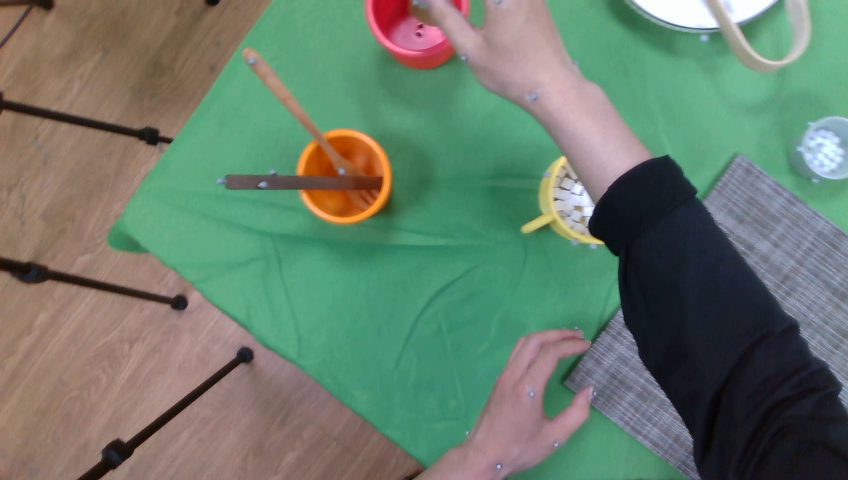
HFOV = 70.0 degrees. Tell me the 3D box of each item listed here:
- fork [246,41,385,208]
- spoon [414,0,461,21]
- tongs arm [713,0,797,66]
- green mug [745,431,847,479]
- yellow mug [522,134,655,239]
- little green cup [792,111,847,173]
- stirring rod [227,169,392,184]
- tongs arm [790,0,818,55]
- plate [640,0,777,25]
[{"bbox_3d":[-0.098,-0.103,0.576,0.028,0.018,0.210,-37,132,1],"label":"fork"},{"bbox_3d":[0.006,-0.199,0.463,0.041,0.193,0.022,7,99,4],"label":"spoon"},{"bbox_3d":[0.246,-0.337,0.575,0.051,0.026,0.384,-24,88,0],"label":"tongs arm"},{"bbox_3d":[0.387,0.231,0.581,0.125,0.105,0.092,-36,89,4],"label":"green mug"},{"bbox_3d":[0.158,-0.044,0.608,0.131,0.064,0.100,-28,91,5],"label":"yellow mug"},{"bbox_3d":[0.405,-0.095,0.607,0.061,0.038,0.061,0,92,4],"label":"little green cup"},{"bbox_3d":[-0.103,-0.061,0.584,0.177,0.006,0.014,-4,93,-39],"label":"stirring rod"},{"bbox_3d":[0.325,-0.364,0.572,0.028,0.028,0.387,-10,89,-3],"label":"tongs arm"},{"bbox_3d":[0.285,-0.317,0.606,0.207,0.039,0.207,0,92,3],"label":"plate"}]
